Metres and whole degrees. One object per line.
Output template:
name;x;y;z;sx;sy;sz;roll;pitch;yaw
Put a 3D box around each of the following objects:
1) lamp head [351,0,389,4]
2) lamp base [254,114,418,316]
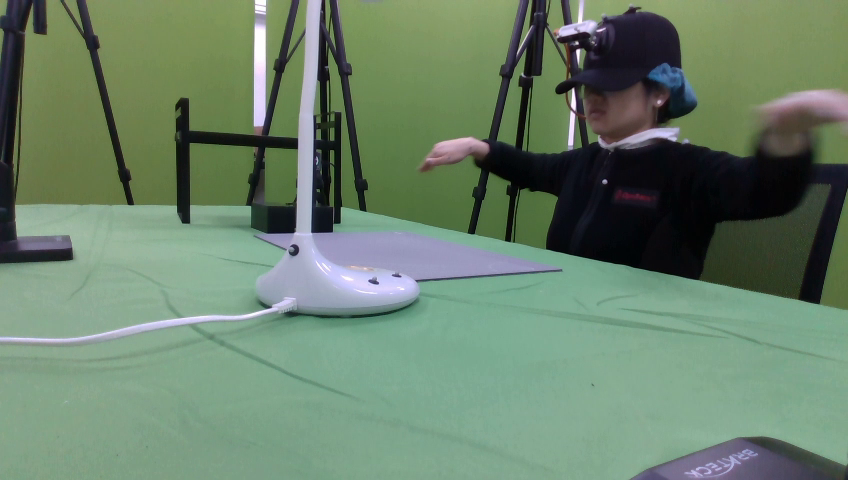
lamp head;-0.053;-0.313;0.597;0.112;0.112;0.123;6;-28;25
lamp base;-0.086;-0.027;0.577;0.160;0.180;0.179;4;10;16
